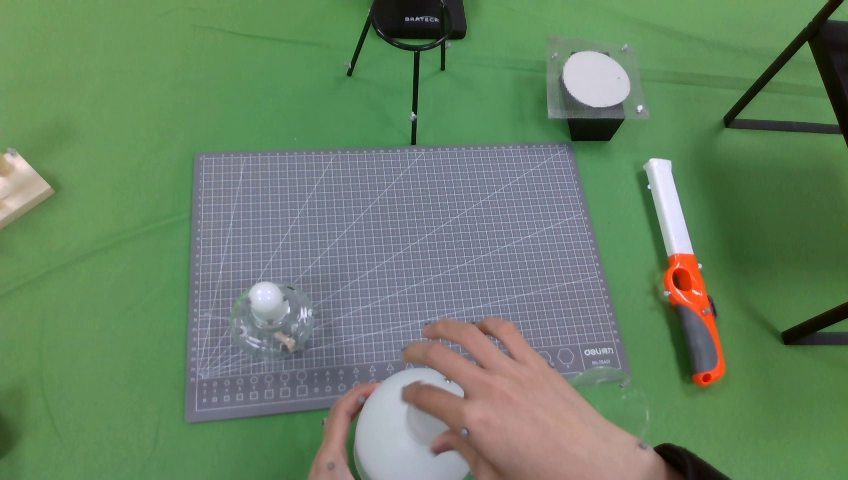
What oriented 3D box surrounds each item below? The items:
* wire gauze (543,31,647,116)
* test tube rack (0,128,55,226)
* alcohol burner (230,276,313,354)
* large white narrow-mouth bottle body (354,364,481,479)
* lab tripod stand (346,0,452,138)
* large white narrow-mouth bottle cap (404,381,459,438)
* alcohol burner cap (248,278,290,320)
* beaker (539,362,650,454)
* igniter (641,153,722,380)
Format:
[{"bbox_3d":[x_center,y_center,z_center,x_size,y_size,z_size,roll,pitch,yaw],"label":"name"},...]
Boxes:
[{"bbox_3d":[0.207,-0.203,0.744,0.122,0.011,0.124,4,65,-6],"label":"wire gauze"},{"bbox_3d":[-0.493,-0.016,0.569,0.066,0.085,0.242,42,67,11],"label":"test tube rack"},{"bbox_3d":[-0.143,0.064,0.565,0.078,0.120,0.077,4,64,-8],"label":"alcohol burner"},{"bbox_3d":[-0.006,0.157,0.501,0.102,0.196,0.101,3,64,-6],"label":"large white narrow-mouth bottle body"},{"bbox_3d":[-0.020,-0.214,0.701,0.149,0.132,0.147,4,66,-8],"label":"lab tripod stand"},{"bbox_3d":[0.005,0.117,0.419,0.038,0.024,0.037,3,65,-7],"label":"large white narrow-mouth bottle cap"},{"bbox_3d":[-0.138,0.050,0.532,0.034,0.048,0.033,2,71,-4],"label":"alcohol burner cap"},{"bbox_3d":[0.153,0.162,0.575,0.084,0.101,0.073,27,65,6],"label":"beaker"},{"bbox_3d":[0.294,0.022,0.697,0.057,0.025,0.274,4,66,-18],"label":"igniter"}]
